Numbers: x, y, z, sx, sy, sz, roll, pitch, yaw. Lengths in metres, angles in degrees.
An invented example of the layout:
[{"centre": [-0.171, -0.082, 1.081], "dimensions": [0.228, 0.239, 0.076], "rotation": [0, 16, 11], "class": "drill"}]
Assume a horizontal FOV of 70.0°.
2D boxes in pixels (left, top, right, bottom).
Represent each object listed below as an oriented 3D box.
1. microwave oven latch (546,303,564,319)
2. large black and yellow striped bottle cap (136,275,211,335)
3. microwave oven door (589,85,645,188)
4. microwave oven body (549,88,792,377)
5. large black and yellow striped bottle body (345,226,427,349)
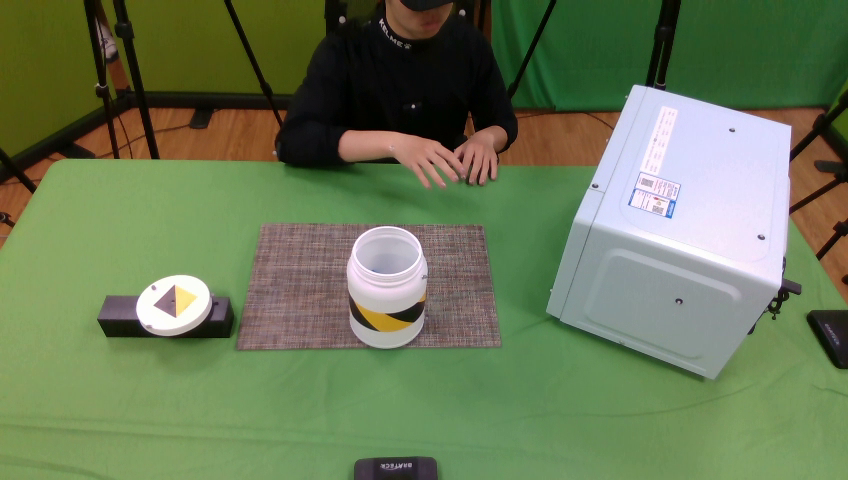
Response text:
[{"centre": [0.242, 0.102, 1.081], "dimensions": [0.030, 0.029, 0.079], "rotation": [21, 48, 17], "class": "microwave oven latch"}, {"centre": [-0.412, 0.105, 0.998], "dimensions": [0.115, 0.019, 0.114], "rotation": [3, 47, -3], "class": "large black and yellow striped bottle cap"}, {"centre": [0.342, -0.107, 1.149], "dimensions": [0.039, 0.245, 0.354], "rotation": [20, 48, 15], "class": "microwave oven door"}, {"centre": [0.456, -0.028, 1.088], "dimensions": [0.325, 0.261, 0.440], "rotation": [20, 47, 16], "class": "microwave oven body"}, {"centre": [-0.062, 0.078, 0.998], "dimensions": [0.131, 0.185, 0.130], "rotation": [2, 46, -2], "class": "large black and yellow striped bottle body"}]
